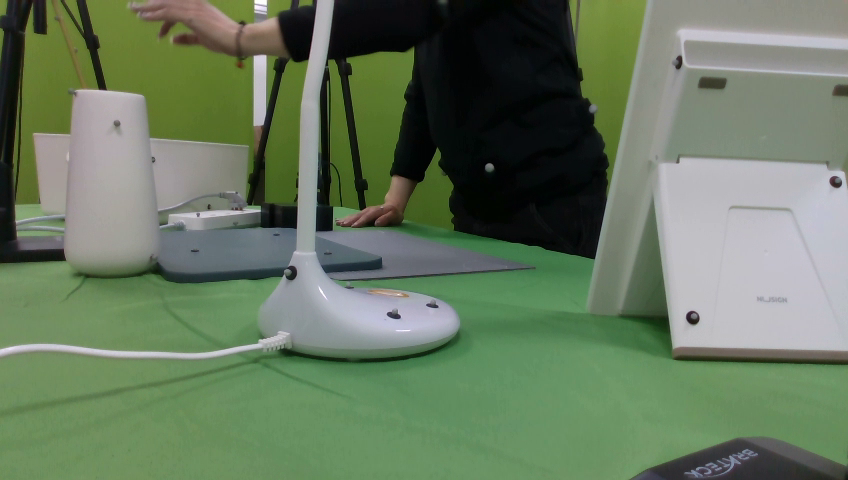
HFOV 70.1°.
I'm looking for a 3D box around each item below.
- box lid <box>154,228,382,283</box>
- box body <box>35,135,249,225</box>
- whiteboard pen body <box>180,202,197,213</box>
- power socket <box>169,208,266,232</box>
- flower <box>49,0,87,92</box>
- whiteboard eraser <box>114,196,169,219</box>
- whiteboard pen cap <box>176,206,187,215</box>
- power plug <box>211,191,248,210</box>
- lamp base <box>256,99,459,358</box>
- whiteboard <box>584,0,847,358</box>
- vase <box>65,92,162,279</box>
[{"bbox_3d":[-0.250,0.014,0.853,0.265,0.015,0.369,-3,9,-32],"label":"box lid"},{"bbox_3d":[-0.561,-0.127,1.258,0.254,0.160,0.365,4,8,13],"label":"box body"},{"bbox_3d":[-0.520,-0.071,1.330,0.017,0.017,0.140,1,9,-10],"label":"whiteboard pen body"},{"bbox_3d":[-0.379,-0.038,1.129,0.072,0.032,0.227,4,8,18],"label":"power socket"},{"bbox_3d":[-0.361,-0.142,0.658,0.038,0.361,0.044,-13,11,10],"label":"flower"},{"bbox_3d":[-0.546,-0.063,1.174,0.055,0.042,0.113,5,5,4],"label":"whiteboard eraser"},{"bbox_3d":[-0.511,-0.062,1.273,0.018,0.018,0.033,1,9,-10],"label":"whiteboard pen cap"},{"bbox_3d":[-0.384,-0.071,1.206,0.072,0.052,0.035,1,7,27],"label":"power plug"},{"bbox_3d":[-0.055,-0.013,0.463,0.160,0.180,0.180,6,11,27],"label":"lamp base"},{"bbox_3d":[0.269,-0.034,0.466,0.217,0.305,0.143,2,27,-1],"label":"whiteboard"},{"bbox_3d":[-0.347,-0.060,0.673,0.098,0.200,0.098,1,7,0],"label":"vase"}]
